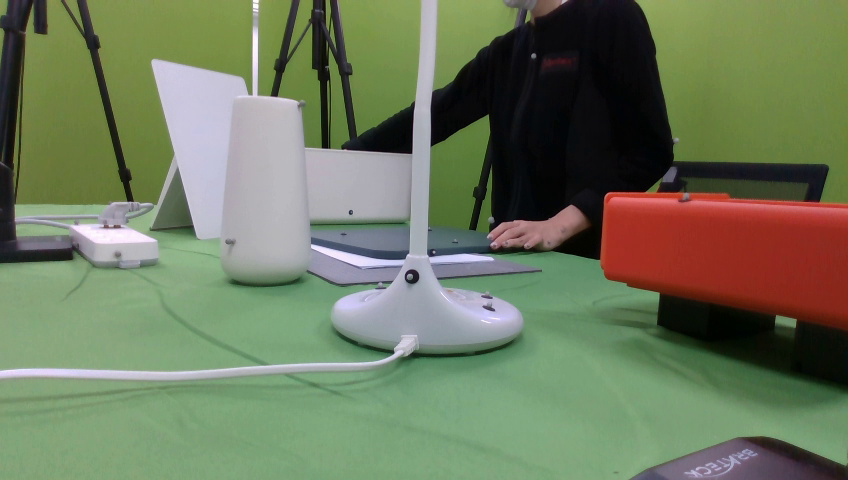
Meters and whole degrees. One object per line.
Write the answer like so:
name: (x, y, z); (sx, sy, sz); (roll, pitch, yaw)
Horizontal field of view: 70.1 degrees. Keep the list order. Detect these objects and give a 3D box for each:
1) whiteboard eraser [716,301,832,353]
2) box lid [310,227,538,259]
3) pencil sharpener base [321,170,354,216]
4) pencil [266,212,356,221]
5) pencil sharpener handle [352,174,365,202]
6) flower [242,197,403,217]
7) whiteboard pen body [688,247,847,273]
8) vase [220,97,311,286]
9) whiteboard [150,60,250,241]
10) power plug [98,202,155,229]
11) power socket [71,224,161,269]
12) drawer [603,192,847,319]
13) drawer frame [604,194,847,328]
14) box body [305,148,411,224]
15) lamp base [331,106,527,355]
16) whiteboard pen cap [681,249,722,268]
whiteboard eraser: (0.256, 0.042, 0.472); (0.112, 0.042, 0.056); (43, 19, 30)
box lid: (-0.010, 0.001, 1.036); (0.374, 0.015, 0.262); (-3, 9, -44)
pencil sharpener base: (-0.206, -0.112, 1.438); (0.077, 0.107, 0.061); (1, 6, -11)
pencil: (-0.245, -0.049, 1.321); (0.195, 0.012, 0.012); (3, 7, -14)
pencil sharpener handle: (-0.156, -0.124, 1.449); (0.031, 0.068, 0.036); (1, 18, -10)
flower: (-0.229, -0.068, 1.372); (0.362, 0.038, 0.044); (4, 36, -2)
whiteboard pen body: (0.303, 0.016, 0.520); (0.140, 0.017, 0.017); (4, 7, 25)
vase: (-0.172, -0.052, 0.662); (0.098, 0.200, 0.098); (3, 9, 0)
whiteboard: (-0.408, -0.139, 1.093); (0.143, 0.305, 0.218); (-15, -1, 26)
power plug: (-0.416, -0.027, 0.848); (0.073, 0.052, 0.035); (0, 8, -28)
power socket: (-0.408, 0.004, 0.793); (0.072, 0.032, 0.225); (-2, 8, -38)
drawer: (0.293, 0.003, 0.500); (0.195, 0.073, 0.210); (-1, 8, -34)
drawer frame: (0.297, 0.007, 0.497); (0.203, 0.082, 0.212); (-1, 7, -34)
box body: (-0.230, -0.126, 1.372); (0.366, 0.160, 0.253); (-2, 8, -33)
lamp base: (0.006, -0.012, 0.478); (0.161, 0.180, 0.179); (2, 10, 2)
whiteboard pen cap: (0.250, 0.017, 0.544); (0.033, 0.018, 0.018); (2, 7, 25)
